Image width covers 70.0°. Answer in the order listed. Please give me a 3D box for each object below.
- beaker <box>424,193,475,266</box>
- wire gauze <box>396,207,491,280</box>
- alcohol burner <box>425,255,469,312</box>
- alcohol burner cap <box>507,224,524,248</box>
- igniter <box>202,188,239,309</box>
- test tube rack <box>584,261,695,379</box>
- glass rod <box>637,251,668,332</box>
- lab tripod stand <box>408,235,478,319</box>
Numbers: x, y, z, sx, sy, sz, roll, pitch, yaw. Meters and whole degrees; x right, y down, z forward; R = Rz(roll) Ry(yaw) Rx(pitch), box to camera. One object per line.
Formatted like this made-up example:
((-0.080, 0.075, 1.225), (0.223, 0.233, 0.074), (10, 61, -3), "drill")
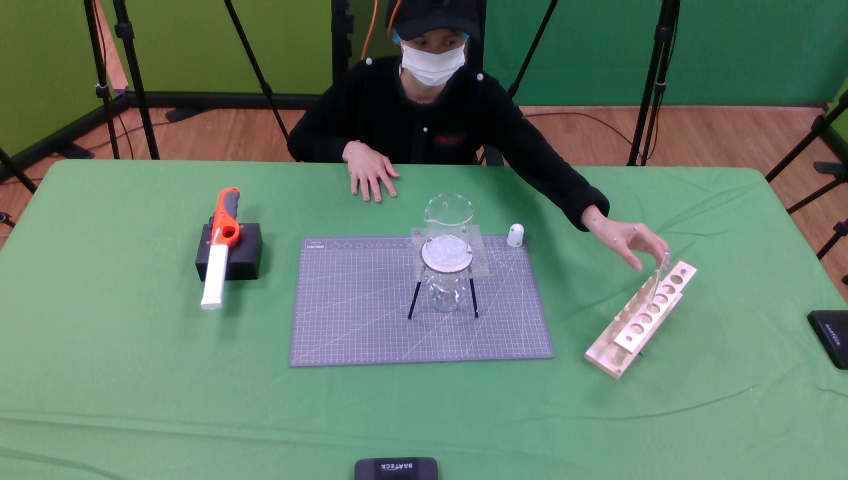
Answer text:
((0.036, -0.013, 0.974), (0.084, 0.101, 0.073), (-18, 48, -20), "beaker")
((0.032, 0.006, 1.001), (0.125, 0.011, 0.120), (-20, 52, -16), "wire gauze")
((0.041, 0.072, 1.065), (0.078, 0.120, 0.077), (1, 46, -1), "alcohol burner")
((0.183, -0.010, 1.206), (0.034, 0.048, 0.033), (1, 45, -1), "alcohol burner cap")
((-0.366, 0.006, 1.095), (0.057, 0.025, 0.274), (-2, 49, -7), "igniter")
((0.380, 0.127, 1.062), (0.066, 0.085, 0.242), (34, 53, 26), "test tube rack")
((0.378, 0.090, 1.005), (0.008, 0.201, 0.008), (-1, 44, 1), "glass rod")
((0.032, 0.065, 1.057), (0.148, 0.132, 0.147), (1, 45, -1), "lab tripod stand")
